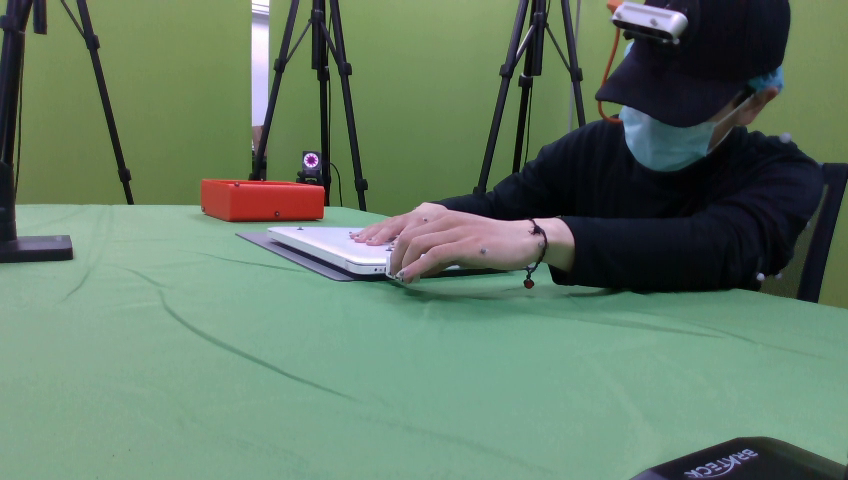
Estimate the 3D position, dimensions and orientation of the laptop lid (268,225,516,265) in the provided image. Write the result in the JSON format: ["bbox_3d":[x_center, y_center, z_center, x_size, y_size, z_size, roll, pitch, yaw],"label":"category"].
[{"bbox_3d":[-0.063,0.003,0.877,0.243,0.013,0.355,1,7,-30],"label":"laptop lid"}]

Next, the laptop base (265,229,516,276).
[{"bbox_3d":[-0.066,0.015,0.877,0.237,0.023,0.352,2,7,-32],"label":"laptop base"}]

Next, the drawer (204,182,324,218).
[{"bbox_3d":[-0.360,-0.092,1.358,0.213,0.073,0.193,-3,10,-36],"label":"drawer"}]

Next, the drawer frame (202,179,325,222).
[{"bbox_3d":[-0.361,-0.092,1.356,0.215,0.082,0.200,-4,10,-37],"label":"drawer frame"}]

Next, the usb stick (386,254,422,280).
[{"bbox_3d":[-0.026,0.030,0.670,0.021,0.027,0.059,-4,1,-32],"label":"usb stick"}]
